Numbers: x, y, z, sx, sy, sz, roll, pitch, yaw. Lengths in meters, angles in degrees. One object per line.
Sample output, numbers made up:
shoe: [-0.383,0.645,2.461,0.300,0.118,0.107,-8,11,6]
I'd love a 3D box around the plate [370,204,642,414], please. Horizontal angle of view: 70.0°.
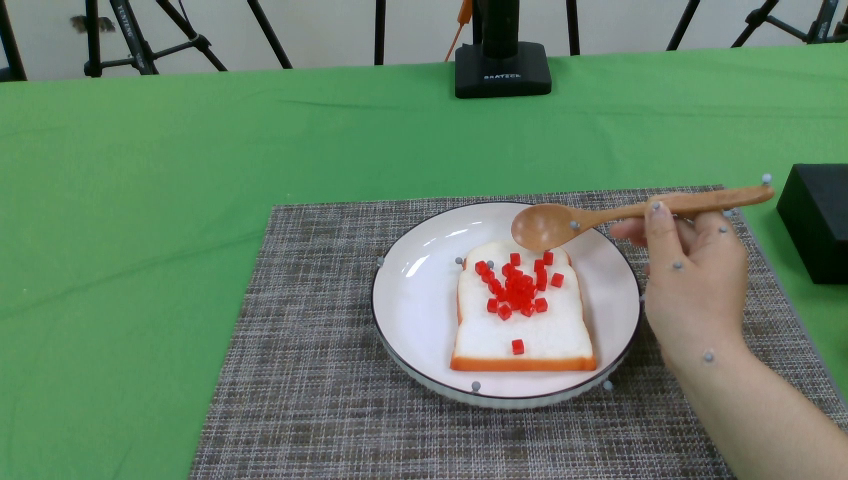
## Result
plate: [0.062,0.050,0.483,0.209,0.038,0.207,-3,43,3]

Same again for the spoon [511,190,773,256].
spoon: [0.150,-0.016,0.450,0.193,0.022,0.041,-9,68,43]

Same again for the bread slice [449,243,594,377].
bread slice: [0.074,0.051,0.484,0.105,0.019,0.130,0,44,4]
